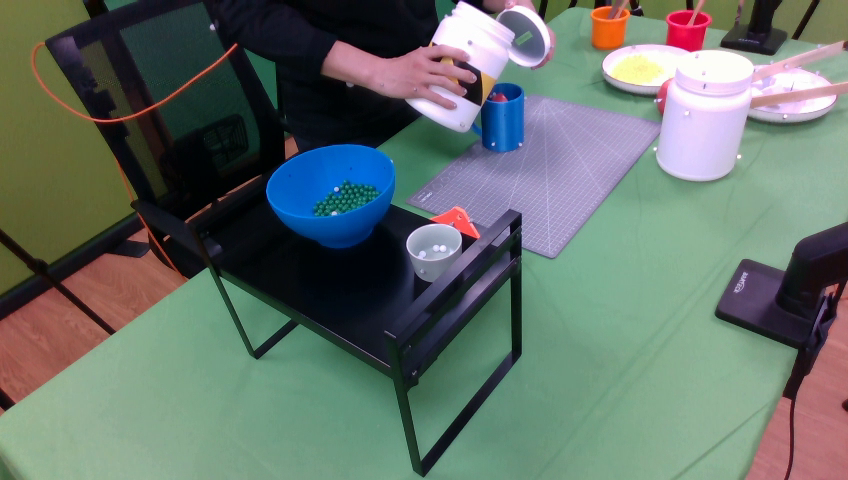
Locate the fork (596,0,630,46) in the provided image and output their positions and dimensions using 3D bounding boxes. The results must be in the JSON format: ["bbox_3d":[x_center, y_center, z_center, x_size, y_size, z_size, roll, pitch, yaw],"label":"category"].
[{"bbox_3d":[0.481,-0.556,1.452,0.028,0.019,0.207,40,103,40],"label":"fork"}]

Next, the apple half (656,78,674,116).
[{"bbox_3d":[0.488,-0.281,1.192,0.053,0.075,0.081,24,54,37],"label":"apple half"}]

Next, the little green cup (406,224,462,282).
[{"bbox_3d":[0.012,0.015,0.668,0.061,0.039,0.061,-4,40,4],"label":"little green cup"}]

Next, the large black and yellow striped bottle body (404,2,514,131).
[{"bbox_3d":[0.062,-0.294,1.033,0.131,0.184,0.130,27,18,-9],"label":"large black and yellow striped bottle body"}]

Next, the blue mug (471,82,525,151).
[{"bbox_3d":[0.138,-0.241,1.169,0.116,0.106,0.082,11,44,20],"label":"blue mug"}]

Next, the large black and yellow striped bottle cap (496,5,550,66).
[{"bbox_3d":[0.180,-0.375,1.111,0.114,0.116,0.019,29,63,35],"label":"large black and yellow striped bottle cap"}]

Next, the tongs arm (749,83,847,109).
[{"bbox_3d":[0.734,-0.280,1.133,0.388,0.028,0.028,-9,47,-5],"label":"tongs arm"}]

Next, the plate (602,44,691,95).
[{"bbox_3d":[0.494,-0.367,1.317,0.209,0.038,0.208,-4,40,4],"label":"plate"}]

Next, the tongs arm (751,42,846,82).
[{"bbox_3d":[0.708,-0.331,1.193,0.386,0.026,0.050,-18,45,-16],"label":"tongs arm"}]

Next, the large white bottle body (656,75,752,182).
[{"bbox_3d":[0.472,-0.207,1.022,0.130,0.185,0.130,-4,41,4],"label":"large white bottle body"}]

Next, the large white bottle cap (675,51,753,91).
[{"bbox_3d":[0.463,-0.271,0.967,0.115,0.018,0.114,-4,40,3],"label":"large white bottle cap"}]

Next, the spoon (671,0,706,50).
[{"bbox_3d":[0.629,-0.520,1.394,0.041,0.022,0.193,30,96,34],"label":"spoon"}]

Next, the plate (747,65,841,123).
[{"bbox_3d":[0.695,-0.282,1.189,0.207,0.039,0.206,-4,40,4],"label":"plate"}]

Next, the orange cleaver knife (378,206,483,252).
[{"bbox_3d":[0.005,-0.010,0.943,0.210,0.077,0.012,-5,23,47],"label":"orange cleaver knife"}]

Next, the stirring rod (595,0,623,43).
[{"bbox_3d":[0.460,-0.556,1.459,0.014,0.006,0.176,30,93,23],"label":"stirring rod"}]

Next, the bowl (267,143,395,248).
[{"bbox_3d":[-0.104,-0.043,0.726,0.151,0.077,0.150,-4,40,4],"label":"bowl"}]
